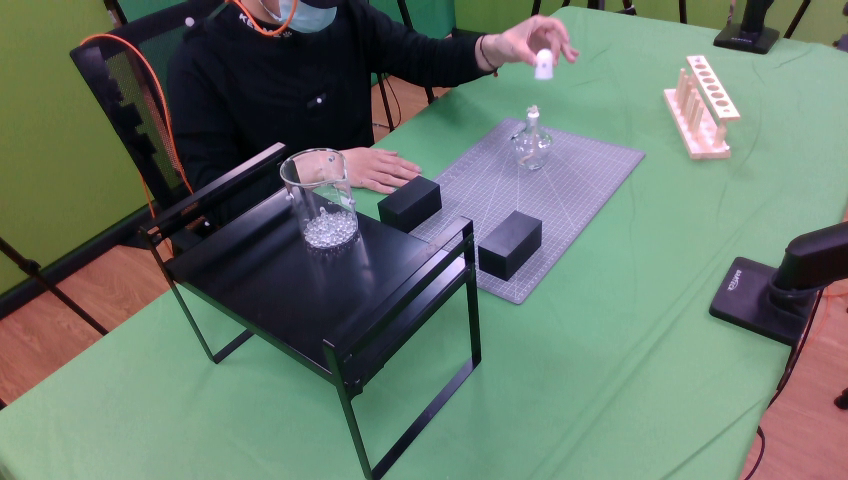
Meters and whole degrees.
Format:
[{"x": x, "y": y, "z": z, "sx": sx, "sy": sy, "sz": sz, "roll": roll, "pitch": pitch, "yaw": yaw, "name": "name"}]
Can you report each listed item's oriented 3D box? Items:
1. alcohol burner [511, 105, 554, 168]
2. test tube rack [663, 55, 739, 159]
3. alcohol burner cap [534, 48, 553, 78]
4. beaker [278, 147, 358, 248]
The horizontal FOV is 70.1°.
[{"x": 0.195, "y": -0.190, "z": 1.088, "sx": 0.078, "sy": 0.119, "sz": 0.077, "roll": -3, "pitch": 42, "yaw": 3, "name": "alcohol burner"}, {"x": 0.518, "y": -0.256, "z": 1.144, "sx": 0.066, "sy": 0.085, "sz": 0.241, "roll": -1, "pitch": 41, "yaw": 8, "name": "test tube rack"}, {"x": 0.203, "y": -0.300, "z": 1.021, "sx": 0.034, "sy": 0.048, "sz": 0.033, "roll": -1, "pitch": 27, "yaw": 1, "name": "alcohol burner cap"}, {"x": -0.117, "y": -0.046, "z": 0.705, "sx": 0.083, "sy": 0.101, "sz": 0.074, "roll": 17, "pitch": 47, "yaw": 25, "name": "beaker"}]
